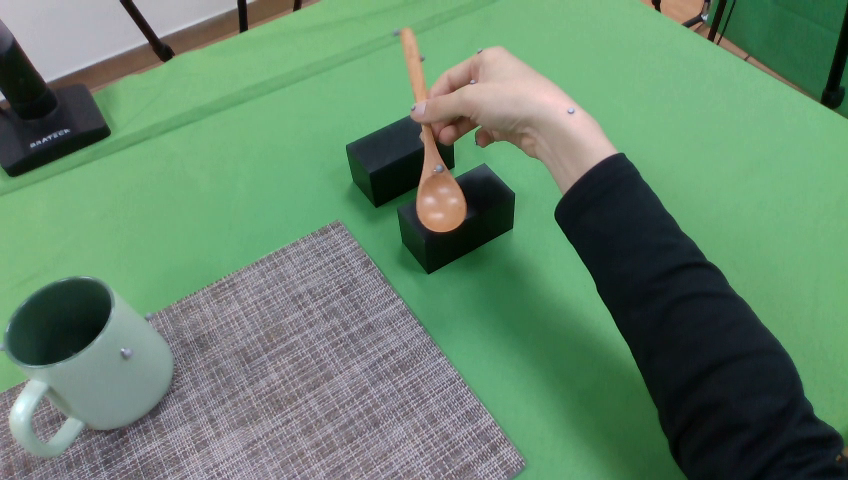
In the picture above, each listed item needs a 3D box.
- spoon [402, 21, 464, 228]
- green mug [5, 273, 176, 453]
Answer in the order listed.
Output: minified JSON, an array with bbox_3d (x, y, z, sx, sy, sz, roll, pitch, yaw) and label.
[{"bbox_3d":[0.002,-0.102,0.518,0.041,0.022,0.193,-10,81,4],"label":"spoon"},{"bbox_3d":[-0.260,0.100,0.466,0.092,0.106,0.124,9,53,11],"label":"green mug"}]
